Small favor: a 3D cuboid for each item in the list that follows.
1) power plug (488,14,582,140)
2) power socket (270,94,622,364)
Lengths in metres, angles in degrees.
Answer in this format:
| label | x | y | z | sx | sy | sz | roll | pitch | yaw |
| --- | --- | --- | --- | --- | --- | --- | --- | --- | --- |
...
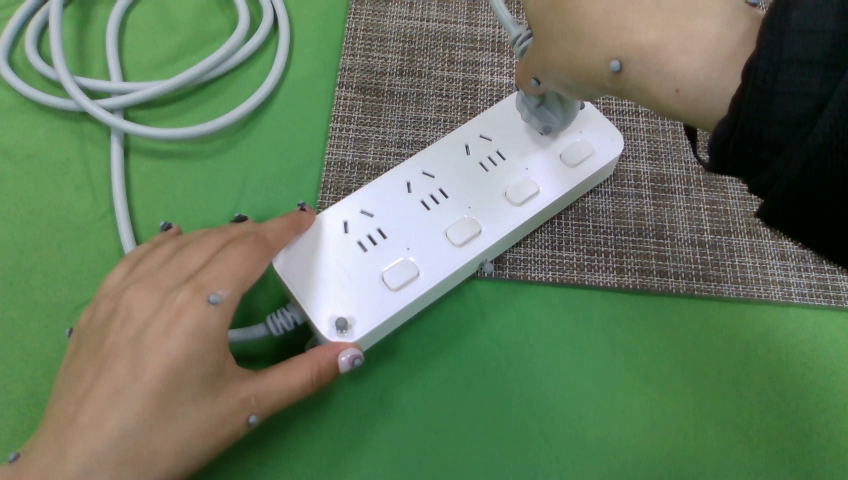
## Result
| label | x | y | z | sx | sy | sz | roll | pitch | yaw |
| --- | --- | --- | --- | --- | --- | --- | --- | --- | --- |
| power plug | 0.062 | -0.090 | 0.346 | 0.035 | 0.053 | 0.072 | -22 | 74 | -16 |
| power socket | 0.017 | -0.017 | 0.345 | 0.227 | 0.033 | 0.071 | -34 | 71 | -17 |
